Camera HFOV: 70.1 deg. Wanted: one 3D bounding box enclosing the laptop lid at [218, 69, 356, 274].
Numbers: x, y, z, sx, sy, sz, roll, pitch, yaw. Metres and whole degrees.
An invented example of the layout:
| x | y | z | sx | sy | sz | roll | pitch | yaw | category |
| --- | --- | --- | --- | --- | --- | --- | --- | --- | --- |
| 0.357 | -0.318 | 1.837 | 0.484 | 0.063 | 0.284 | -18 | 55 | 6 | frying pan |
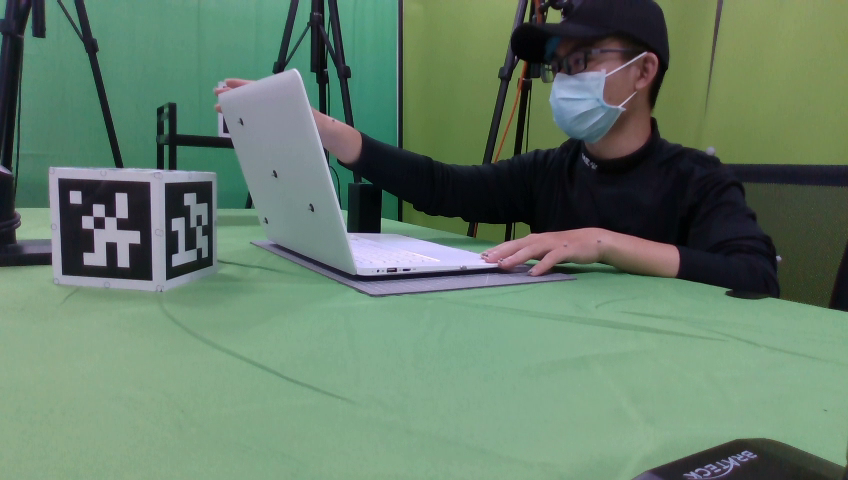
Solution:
| x | y | z | sx | sy | sz | roll | pitch | yaw | category |
| --- | --- | --- | --- | --- | --- | --- | --- | --- | --- |
| -0.195 | -0.089 | 0.798 | 0.013 | 0.242 | 0.355 | -23 | 20 | -27 | laptop lid |

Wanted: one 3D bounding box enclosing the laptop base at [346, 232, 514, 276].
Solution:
| x | y | z | sx | sy | sz | roll | pitch | yaw | category |
| --- | --- | --- | --- | --- | --- | --- | --- | --- | --- |
| -0.066 | 0.017 | 0.893 | 0.237 | 0.023 | 0.352 | 2 | 6 | -32 | laptop base |
